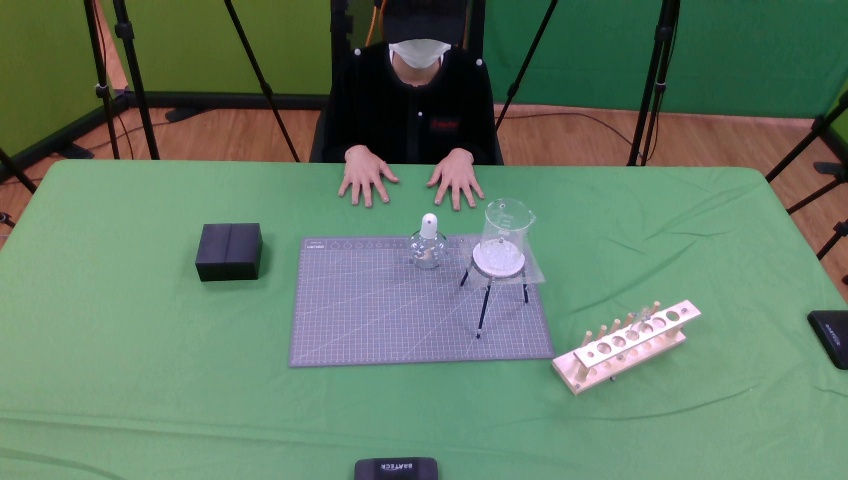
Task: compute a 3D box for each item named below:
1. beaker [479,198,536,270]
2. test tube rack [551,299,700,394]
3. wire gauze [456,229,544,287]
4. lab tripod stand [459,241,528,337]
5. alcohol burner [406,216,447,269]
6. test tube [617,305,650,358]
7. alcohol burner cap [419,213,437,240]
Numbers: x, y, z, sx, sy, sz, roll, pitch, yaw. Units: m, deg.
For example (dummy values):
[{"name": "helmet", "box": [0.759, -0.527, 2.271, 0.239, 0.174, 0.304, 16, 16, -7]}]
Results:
[{"name": "beaker", "box": [0.131, -0.007, 0.975, 0.084, 0.101, 0.073, 2, 46, -4]}, {"name": "test tube rack", "box": [0.339, 0.166, 1.021, 0.242, 0.085, 0.066, -19, 50, -21]}, {"name": "wire gauze", "box": [0.125, 0.030, 1.008, 0.125, 0.011, 0.120, -2, 48, -11]}, {"name": "lab tripod stand", "box": [0.122, 0.075, 1.054, 0.148, 0.132, 0.147, 3, 44, -3]}, {"name": "alcohol burner", "box": [0.006, -0.003, 1.135, 0.078, 0.120, 0.077, 2, 48, -2]}, {"name": "test tube", "box": [0.333, 0.149, 0.967, 0.017, 0.151, 0.017, 0, 52, 1]}, {"name": "alcohol burner cap", "box": [0.009, -0.027, 1.109, 0.034, 0.048, 0.033, 3, 44, -3]}]
